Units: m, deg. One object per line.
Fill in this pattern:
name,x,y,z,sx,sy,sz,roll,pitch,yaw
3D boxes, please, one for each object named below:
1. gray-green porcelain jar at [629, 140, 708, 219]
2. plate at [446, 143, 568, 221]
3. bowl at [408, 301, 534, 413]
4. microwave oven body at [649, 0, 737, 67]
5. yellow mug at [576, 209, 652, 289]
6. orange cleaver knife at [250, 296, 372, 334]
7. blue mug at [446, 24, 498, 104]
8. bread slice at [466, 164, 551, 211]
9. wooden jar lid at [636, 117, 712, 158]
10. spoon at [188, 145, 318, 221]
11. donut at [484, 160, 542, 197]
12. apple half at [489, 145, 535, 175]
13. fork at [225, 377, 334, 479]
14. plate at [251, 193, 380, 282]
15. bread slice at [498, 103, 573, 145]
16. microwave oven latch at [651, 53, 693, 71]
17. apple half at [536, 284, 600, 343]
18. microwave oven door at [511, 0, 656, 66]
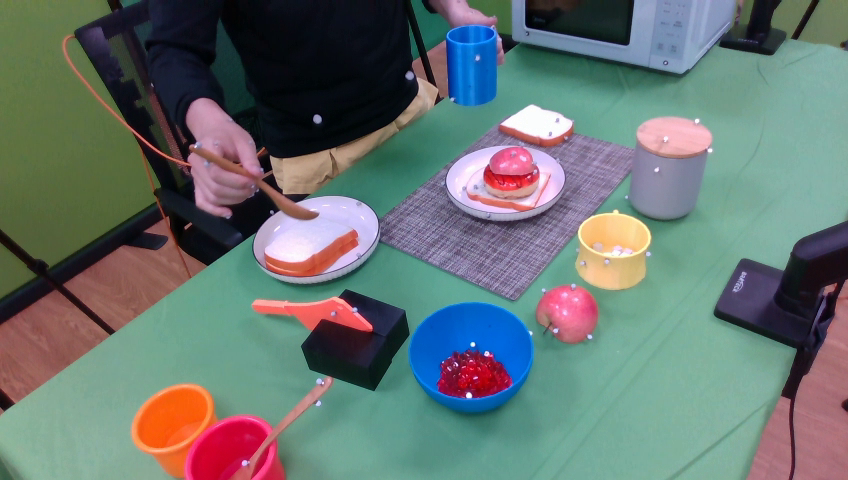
gray-green porcelain jar,0.383,-0.105,0.958,0.106,0.127,0.105,-4,41,4
plate,0.142,-0.096,1.045,0.207,0.039,0.206,-4,41,4
bowl,0.060,0.156,0.739,0.151,0.077,0.150,-4,40,4
microwave oven body,0.475,-0.602,1.411,0.438,0.261,0.327,23,50,32
yellow mug,0.279,0.004,0.893,0.099,0.064,0.130,5,42,14
orange cleaver knife,-0.159,0.103,0.828,0.210,0.078,0.012,-4,43,39
blue mug,0.086,-0.299,1.007,0.082,0.106,0.116,14,43,21
bread slice,0.141,-0.093,1.043,0.133,0.018,0.107,10,43,18
wooden jar lid,0.377,-0.151,0.917,0.108,0.021,0.108,-2,42,3
spoon,-0.198,-0.064,0.716,0.041,0.195,0.021,-5,62,34
donut,0.149,-0.110,1.015,0.099,0.048,0.098,-4,41,4
apple half,0.145,-0.138,0.995,0.081,0.033,0.081,-2,35,2
fork,-0.163,0.216,0.646,0.207,0.019,0.028,-49,42,16
plate,-0.173,-0.001,0.984,0.209,0.038,0.208,-4,41,4
bread slice,0.231,-0.232,1.205,0.105,0.019,0.130,-36,48,-29
microwave oven latch,0.532,-0.386,1.301,0.078,0.029,0.030,27,52,34
apple half,0.196,0.091,0.815,0.075,0.053,0.080,-22,42,-20
microwave oven door,0.351,-0.540,1.349,0.353,0.245,0.039,24,50,31
